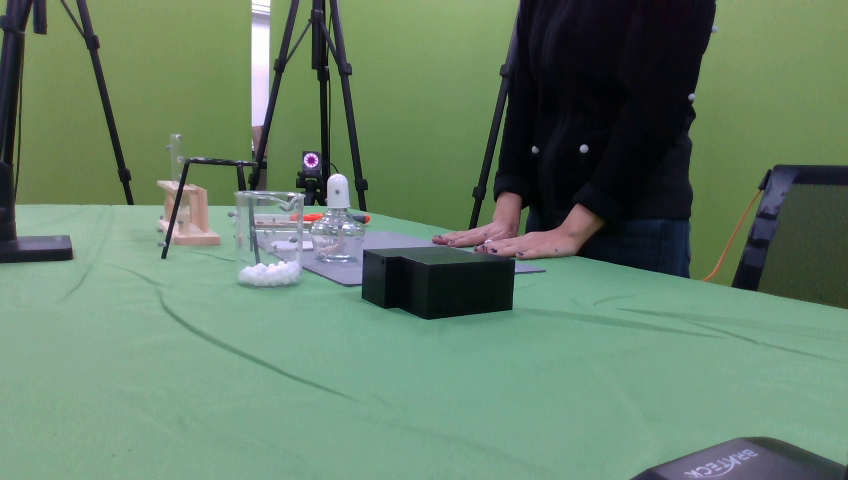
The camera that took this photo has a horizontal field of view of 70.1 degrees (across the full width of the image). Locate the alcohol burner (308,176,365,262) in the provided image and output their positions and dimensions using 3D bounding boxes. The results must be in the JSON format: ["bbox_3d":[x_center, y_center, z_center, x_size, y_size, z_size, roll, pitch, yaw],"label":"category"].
[{"bbox_3d":[-0.117,-0.030,0.813,0.078,0.119,0.078,3,9,0],"label":"alcohol burner"}]

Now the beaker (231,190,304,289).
[{"bbox_3d":[-0.166,-0.001,0.653,0.074,0.100,0.083,-4,10,-40],"label":"beaker"}]

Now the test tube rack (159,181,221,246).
[{"bbox_3d":[-0.395,-0.049,1.010,0.067,0.085,0.241,-2,8,-28],"label":"test tube rack"}]

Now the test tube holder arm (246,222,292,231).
[{"bbox_3d":[-0.291,-0.026,1.130,0.088,0.015,0.010,-2,44,-30],"label":"test tube holder arm"}]

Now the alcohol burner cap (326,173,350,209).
[{"bbox_3d":[-0.116,-0.065,0.808,0.034,0.048,0.034,-3,10,1],"label":"alcohol burner cap"}]

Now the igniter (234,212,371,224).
[{"bbox_3d":[-0.245,-0.045,1.248,0.278,0.025,0.057,-1,-2,-25],"label":"igniter"}]

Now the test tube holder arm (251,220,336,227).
[{"bbox_3d":[-0.253,-0.031,1.156,0.179,0.015,0.013,-2,44,-31],"label":"test tube holder arm"}]

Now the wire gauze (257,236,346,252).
[{"bbox_3d":[-0.189,0.005,0.931,0.122,0.011,0.124,1,7,-21],"label":"wire gauze"}]

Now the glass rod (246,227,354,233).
[{"bbox_3d":[-0.224,-0.017,1.109,0.201,0.008,0.008,1,7,-27],"label":"glass rod"}]

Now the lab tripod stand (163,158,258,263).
[{"bbox_3d":[-0.265,-0.041,0.802,0.148,0.131,0.148,4,7,0],"label":"lab tripod stand"}]

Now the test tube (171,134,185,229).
[{"bbox_3d":[-0.390,-0.092,0.963,0.017,0.150,0.017,-1,4,0],"label":"test tube"}]
